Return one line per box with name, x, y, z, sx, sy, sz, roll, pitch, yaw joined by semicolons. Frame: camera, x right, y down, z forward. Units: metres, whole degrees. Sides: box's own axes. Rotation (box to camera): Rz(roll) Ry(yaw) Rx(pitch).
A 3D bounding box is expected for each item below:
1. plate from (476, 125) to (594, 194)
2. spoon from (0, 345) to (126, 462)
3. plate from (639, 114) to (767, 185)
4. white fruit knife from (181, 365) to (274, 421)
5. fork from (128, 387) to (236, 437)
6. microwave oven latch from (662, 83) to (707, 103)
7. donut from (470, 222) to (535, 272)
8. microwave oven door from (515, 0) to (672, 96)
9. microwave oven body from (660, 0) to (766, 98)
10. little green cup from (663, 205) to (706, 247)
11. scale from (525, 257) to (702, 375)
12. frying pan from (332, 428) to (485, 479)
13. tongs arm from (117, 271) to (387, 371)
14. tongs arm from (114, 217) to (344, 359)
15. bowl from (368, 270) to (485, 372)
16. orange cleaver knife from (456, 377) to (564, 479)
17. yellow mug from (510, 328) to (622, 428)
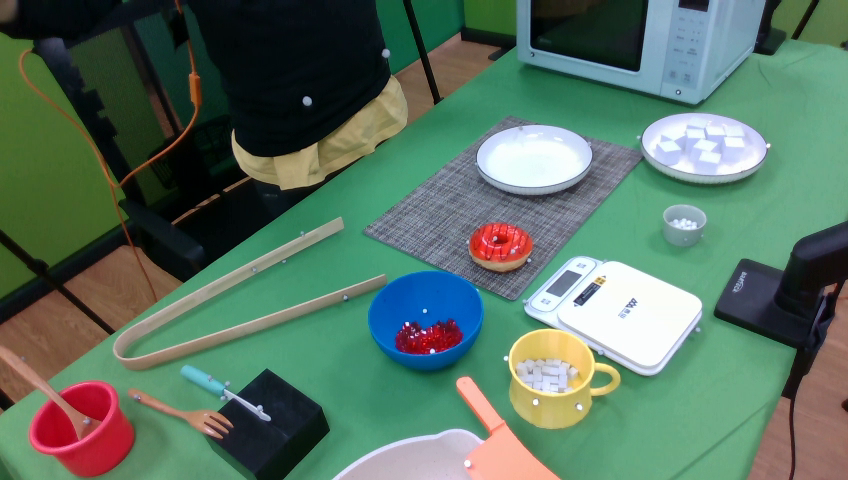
plate;0.199;-0.141;1.093;0.209;0.038;0.208;-4;40;4
spoon;-0.434;0.192;0.720;0.194;0.021;0.042;47;54;-7
plate;0.489;-0.157;1.074;0.207;0.039;0.206;-4;40;4
white fruit knife;-0.245;0.187;0.747;0.205;0.027;0.016;9;41;40
fork;-0.305;0.207;0.744;0.206;0.019;0.028;3;41;36
microwave oven latch;0.517;-0.296;1.204;0.078;0.029;0.030;27;52;35
donut;0.119;0.009;0.923;0.099;0.048;0.098;-4;38;3
microwave oven door;0.343;-0.454;1.259;0.353;0.245;0.039;26;51;33
microwave oven body;0.472;-0.513;1.317;0.438;0.261;0.327;26;51;34
little green cup;0.396;-0.021;0.926;0.061;0.039;0.061;-4;40;4
scale;0.254;0.091;0.821;0.199;0.032;0.149;28;51;35
frying pan;-0.089;0.305;0.564;0.487;0.103;0.306;10;41;7
tongs arm;-0.237;0.114;0.870;0.389;0.028;0.028;-18;48;-12
tongs arm;-0.280;0.068;0.927;0.386;0.026;0.050;-29;48;-22
bowl;0.007;0.119;0.791;0.151;0.077;0.150;-5;40;4
orange cleaver knife;0.081;0.220;0.611;0.077;0.012;0.209;-26;43;-22
yellow mug;0.169;0.164;0.722;0.130;0.064;0.099;0;40;8
